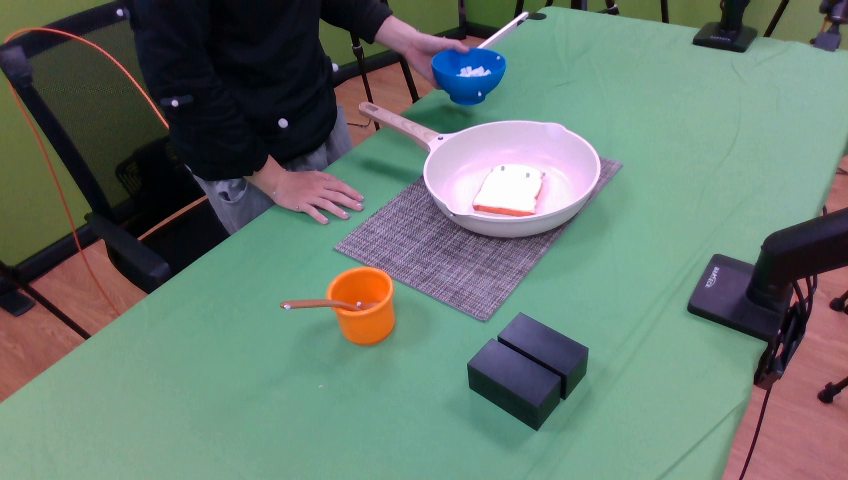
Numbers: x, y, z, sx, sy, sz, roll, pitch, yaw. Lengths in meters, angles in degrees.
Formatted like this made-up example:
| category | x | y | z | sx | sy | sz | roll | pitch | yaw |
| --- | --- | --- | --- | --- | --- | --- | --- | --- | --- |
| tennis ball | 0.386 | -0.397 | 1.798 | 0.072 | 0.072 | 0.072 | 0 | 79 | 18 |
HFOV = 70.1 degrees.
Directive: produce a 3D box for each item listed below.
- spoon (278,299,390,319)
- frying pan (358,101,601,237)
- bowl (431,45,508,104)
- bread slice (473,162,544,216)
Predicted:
| category | x | y | z | sx | sy | sz | roll | pitch | yaw |
| --- | --- | --- | --- | --- | --- | --- | --- | --- | --- |
| spoon | -0.113 | 0.086 | 0.787 | 0.041 | 0.021 | 0.195 | 28 | 7 | 36 |
| frying pan | 0.067 | -0.153 | 1.067 | 0.484 | 0.103 | 0.308 | 32 | 52 | 26 |
| bowl | 0.089 | -0.326 | 1.217 | 0.151 | 0.077 | 0.150 | 0 | 39 | 1 |
| bread slice | 0.150 | -0.089 | 1.041 | 0.106 | 0.018 | 0.134 | 7 | 44 | 16 |
